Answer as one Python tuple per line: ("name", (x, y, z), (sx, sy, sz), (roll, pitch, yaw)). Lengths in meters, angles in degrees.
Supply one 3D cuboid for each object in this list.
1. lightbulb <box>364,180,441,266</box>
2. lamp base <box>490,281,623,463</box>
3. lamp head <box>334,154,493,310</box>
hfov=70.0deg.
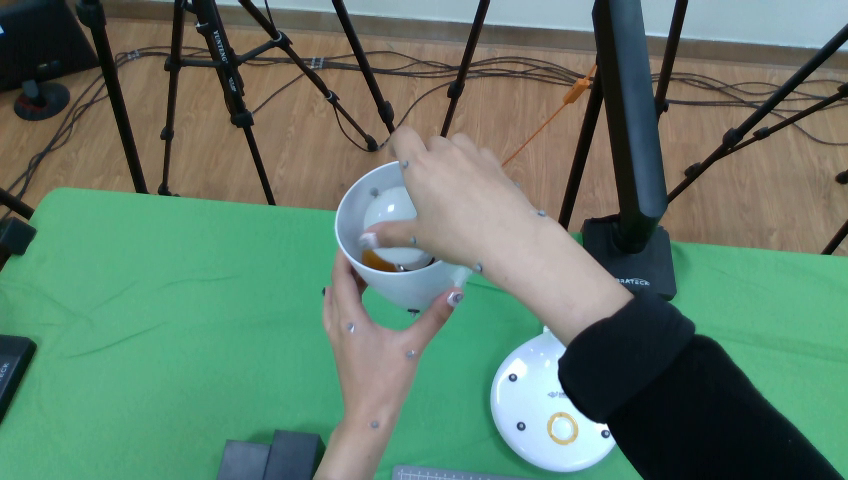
("lightbulb", (-0.012, -0.005, 0.487), (0.059, 0.108, 0.059), (-5, 61, 9))
("lamp base", (0.159, 0.139, 0.683), (0.161, 0.182, 0.177), (-6, 55, -4))
("lamp head", (-0.002, 0.005, 0.510), (0.112, 0.124, 0.111), (-8, 56, 13))
